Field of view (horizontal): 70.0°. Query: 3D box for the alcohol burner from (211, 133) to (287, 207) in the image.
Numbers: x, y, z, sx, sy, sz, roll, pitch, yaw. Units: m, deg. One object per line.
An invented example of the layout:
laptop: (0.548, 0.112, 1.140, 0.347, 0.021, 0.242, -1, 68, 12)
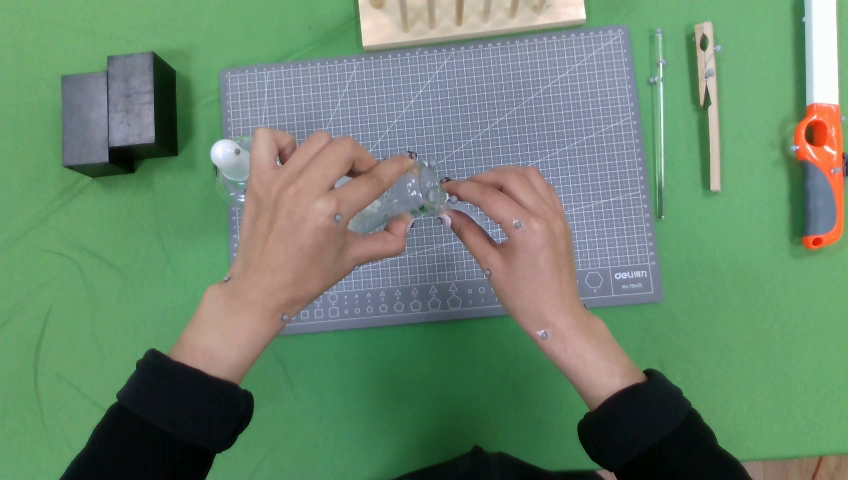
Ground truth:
alcohol burner: (-0.181, -0.074, 0.606, 0.078, 0.119, 0.077, -1, 83, 6)

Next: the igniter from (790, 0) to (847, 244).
igniter: (0.406, -0.132, 0.625, 0.057, 0.025, 0.276, 4, 84, -6)

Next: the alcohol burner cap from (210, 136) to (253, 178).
alcohol burner cap: (-0.183, -0.081, 0.570, 0.034, 0.048, 0.033, 0, 79, 0)

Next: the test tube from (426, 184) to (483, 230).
test tube: (0.030, -0.026, 0.518, 0.017, 0.151, 0.017, -2, 82, 17)

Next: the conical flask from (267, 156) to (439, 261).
conical flask: (-0.050, -0.030, 0.456, 0.121, 0.076, 0.075, -11, 82, 26)

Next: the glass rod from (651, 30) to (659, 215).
glass rod: (0.246, -0.125, 0.643, 0.008, 0.008, 0.199, 1, 86, 3)

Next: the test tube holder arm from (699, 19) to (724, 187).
test tube holder arm: (0.301, -0.144, 0.636, 0.013, 0.015, 0.178, -9, 82, 39)

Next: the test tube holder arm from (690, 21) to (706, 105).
test tube holder arm: (0.294, -0.188, 0.644, 0.010, 0.015, 0.087, -8, 83, 39)

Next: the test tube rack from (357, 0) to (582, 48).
test tube rack: (0.046, -0.263, 0.631, 0.242, 0.085, 0.066, -6, 83, 3)
